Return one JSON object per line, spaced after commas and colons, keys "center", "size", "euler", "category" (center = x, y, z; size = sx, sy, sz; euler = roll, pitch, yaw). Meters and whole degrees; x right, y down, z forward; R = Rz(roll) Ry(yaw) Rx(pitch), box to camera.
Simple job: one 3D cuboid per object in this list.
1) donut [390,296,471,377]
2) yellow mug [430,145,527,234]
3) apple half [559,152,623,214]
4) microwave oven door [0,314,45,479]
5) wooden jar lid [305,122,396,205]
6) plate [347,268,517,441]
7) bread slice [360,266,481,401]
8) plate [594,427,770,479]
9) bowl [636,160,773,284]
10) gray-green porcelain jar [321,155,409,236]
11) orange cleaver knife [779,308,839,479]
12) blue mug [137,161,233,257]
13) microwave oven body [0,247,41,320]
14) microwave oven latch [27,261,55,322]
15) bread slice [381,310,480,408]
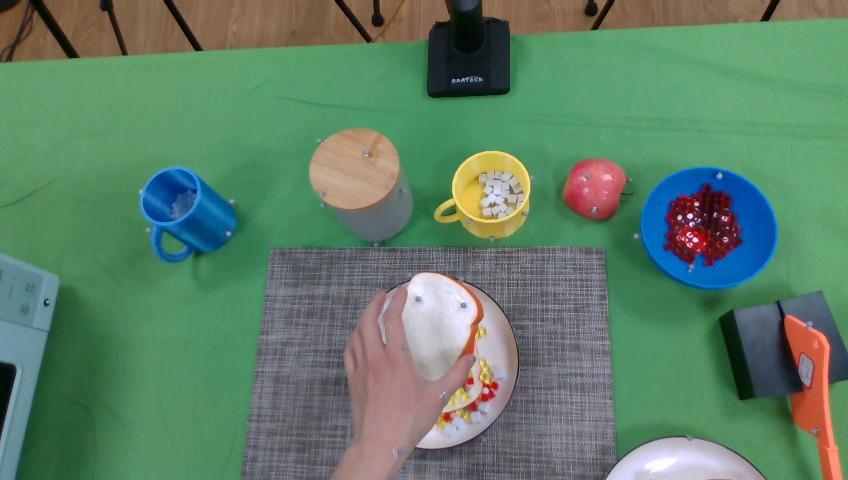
{"center": [0.008, 0.115, 0.722], "size": [0.099, 0.048, 0.098], "euler": [-2, 72, 7], "category": "donut"}
{"center": [0.069, -0.059, 0.789], "size": [0.131, 0.064, 0.099], "euler": [-22, 71, 1], "category": "yellow mug"}
{"center": [0.217, -0.080, 0.783], "size": [0.074, 0.054, 0.080], "euler": [22, 77, 16], "category": "apple half"}
{"center": [-0.551, 0.246, 0.658], "size": [0.039, 0.245, 0.353], "euler": [0, 72, 8], "category": "microwave oven door"}
{"center": [-0.086, -0.089, 0.718], "size": [0.108, 0.021, 0.107], "euler": [-2, 70, 5], "category": "wooden jar lid"}
{"center": [0.010, 0.138, 0.744], "size": [0.207, 0.039, 0.206], "euler": [-2, 72, 7], "category": "plate"}
{"center": [-0.002, 0.094, 0.666], "size": [0.104, 0.019, 0.131], "euler": [29, 94, 20], "category": "bread slice"}
{"center": [0.281, 0.311, 0.657], "size": [0.209, 0.038, 0.208], "euler": [-2, 72, 8], "category": "plate"}
{"center": [0.327, -0.012, 0.733], "size": [0.151, 0.077, 0.150], "euler": [-2, 72, 7], "category": "bowl"}
{"center": [-0.076, -0.069, 0.779], "size": [0.106, 0.127, 0.105], "euler": [-2, 72, 7], "category": "gray-green porcelain jar"}
{"center": [0.417, 0.180, 0.658], "size": [0.012, 0.077, 0.211], "euler": [-10, 93, -3], "category": "orange cleaver knife"}
{"center": [-0.324, -0.032, 0.810], "size": [0.082, 0.106, 0.116], "euler": [20, 76, 13], "category": "blue mug"}
{"center": [-0.693, 0.208, 0.695], "size": [0.325, 0.262, 0.439], "euler": [0, 73, 7], "category": "microwave oven body"}
{"center": [-0.526, 0.070, 0.819], "size": [0.030, 0.030, 0.078], "euler": [3, 73, 8], "category": "microwave oven latch"}
{"center": [0.015, 0.136, 0.744], "size": [0.107, 0.018, 0.133], "euler": [-17, 72, 2], "category": "bread slice"}
